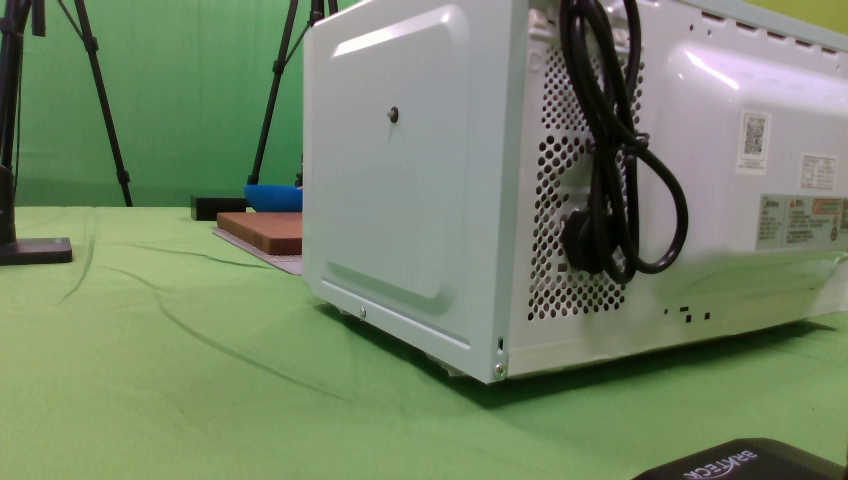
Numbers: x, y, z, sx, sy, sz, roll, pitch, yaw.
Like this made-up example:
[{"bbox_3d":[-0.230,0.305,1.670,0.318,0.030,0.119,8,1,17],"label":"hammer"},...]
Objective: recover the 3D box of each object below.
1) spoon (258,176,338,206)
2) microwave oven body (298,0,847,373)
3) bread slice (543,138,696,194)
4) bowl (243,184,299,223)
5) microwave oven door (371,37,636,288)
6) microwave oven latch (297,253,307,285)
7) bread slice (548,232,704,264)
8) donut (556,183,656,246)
[{"bbox_3d":[-0.279,-0.112,1.356,0.194,0.021,0.041,-28,18,-27],"label":"spoon"},{"bbox_3d":[0.151,-0.055,0.543,0.444,0.260,0.324,-1,7,-33],"label":"microwave oven body"},{"bbox_3d":[0.201,-0.074,0.607,0.133,0.018,0.107,26,18,39],"label":"bread slice"},{"bbox_3d":[-0.321,-0.081,1.334,0.151,0.077,0.151,3,8,0],"label":"bowl"},{"bbox_3d":[0.110,-0.080,0.686,0.358,0.243,0.039,-2,9,-33],"label":"microwave oven door"},{"bbox_3d":[-0.082,0.027,0.582,0.079,0.029,0.030,-2,8,-33],"label":"microwave oven latch"},{"bbox_3d":[0.201,0.008,0.588,0.105,0.019,0.131,8,-7,-24],"label":"bread slice"},{"bbox_3d":[0.183,-0.027,0.611,0.099,0.048,0.099,12,-12,3],"label":"donut"}]
